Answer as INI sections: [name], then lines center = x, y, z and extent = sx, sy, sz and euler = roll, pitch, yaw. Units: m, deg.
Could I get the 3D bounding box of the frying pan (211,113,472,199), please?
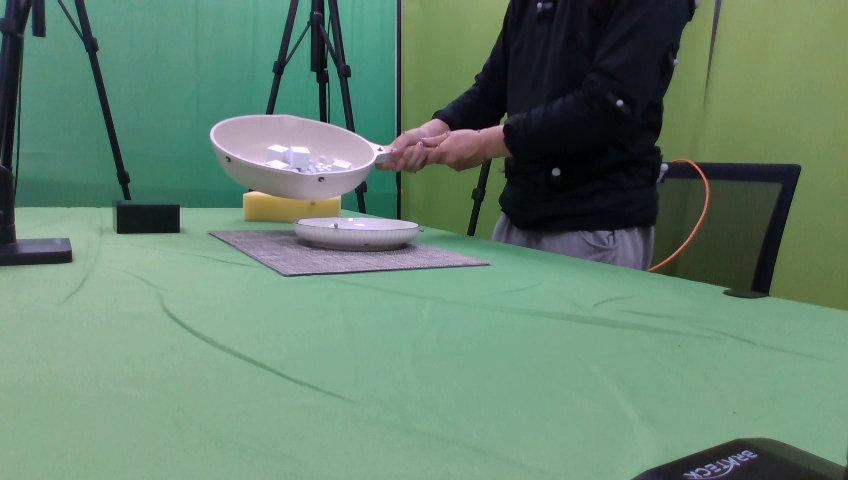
[frying pan]
center = -0.137, -0.165, 1.138
extent = 0.490, 0.103, 0.305
euler = -6, 32, -16

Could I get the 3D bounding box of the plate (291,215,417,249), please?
[plate]
center = -0.115, -0.013, 1.002
extent = 0.208, 0.039, 0.207
euler = 2, 7, 0

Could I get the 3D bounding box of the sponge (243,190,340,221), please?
[sponge]
center = -0.298, -0.077, 1.388
extent = 0.207, 0.061, 0.118
euler = 2, 8, -8
